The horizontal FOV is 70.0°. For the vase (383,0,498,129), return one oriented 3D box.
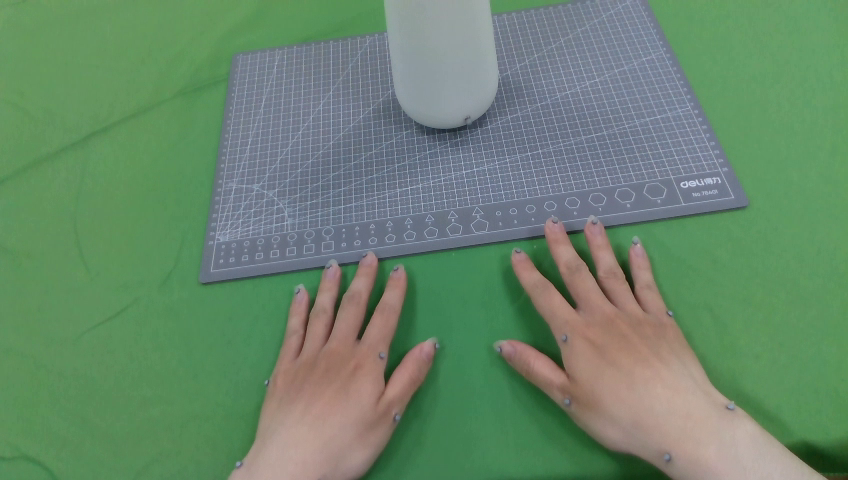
[{"bbox_3d":[0.011,-0.190,0.508,0.098,0.202,0.097,-4,53,6],"label":"vase"}]
